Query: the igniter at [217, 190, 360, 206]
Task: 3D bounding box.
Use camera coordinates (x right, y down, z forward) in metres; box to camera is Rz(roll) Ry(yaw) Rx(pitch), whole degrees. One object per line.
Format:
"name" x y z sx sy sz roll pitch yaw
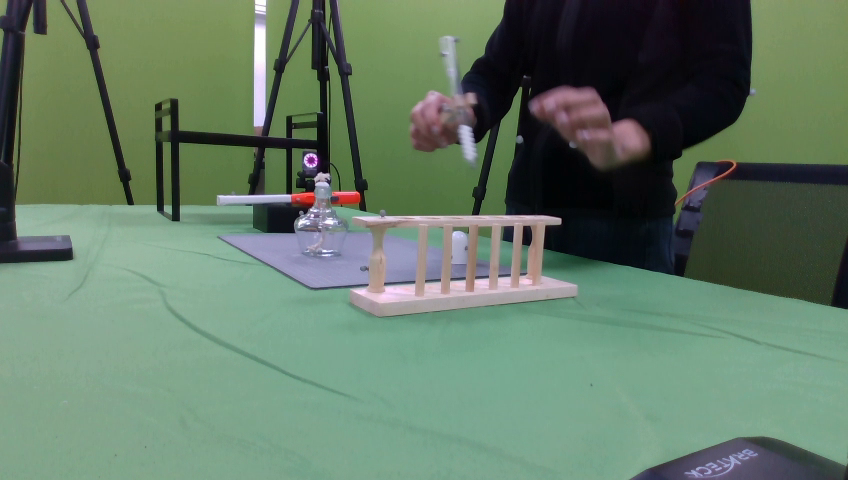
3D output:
"igniter" -0.248 -0.080 1.150 0.278 0.025 0.057 -5 7 -29

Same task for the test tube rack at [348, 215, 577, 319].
"test tube rack" 0.048 0.021 0.619 0.244 0.085 0.066 -2 9 -31

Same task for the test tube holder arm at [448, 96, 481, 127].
"test tube holder arm" 0.044 -0.155 0.734 0.010 0.015 0.087 -6 -3 -23

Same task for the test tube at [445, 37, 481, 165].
"test tube" 0.046 -0.163 0.712 0.017 0.150 0.017 -11 2 1

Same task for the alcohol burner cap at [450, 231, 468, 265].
"alcohol burner cap" 0.047 0.011 0.838 0.034 0.048 0.034 0 6 0

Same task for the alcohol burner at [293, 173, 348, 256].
"alcohol burner" -0.146 -0.036 0.859 0.078 0.119 0.078 4 8 0

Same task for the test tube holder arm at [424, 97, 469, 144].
"test tube holder arm" 0.025 -0.150 0.775 0.013 0.015 0.178 -6 -3 -16
